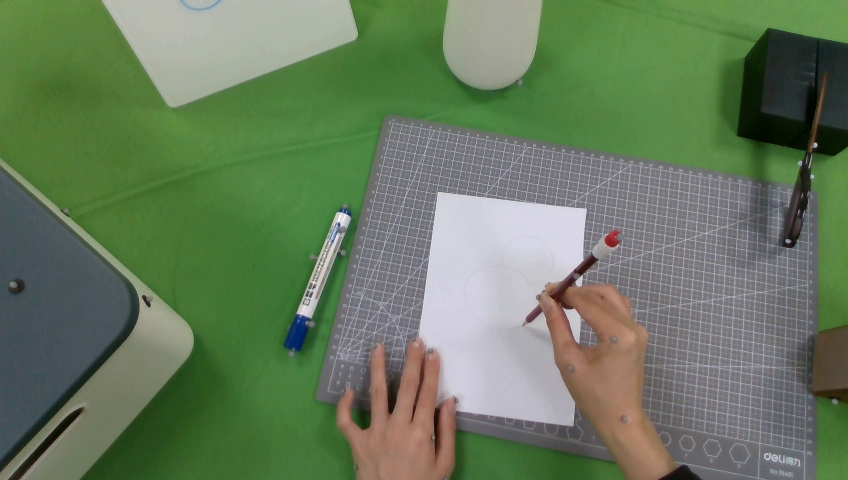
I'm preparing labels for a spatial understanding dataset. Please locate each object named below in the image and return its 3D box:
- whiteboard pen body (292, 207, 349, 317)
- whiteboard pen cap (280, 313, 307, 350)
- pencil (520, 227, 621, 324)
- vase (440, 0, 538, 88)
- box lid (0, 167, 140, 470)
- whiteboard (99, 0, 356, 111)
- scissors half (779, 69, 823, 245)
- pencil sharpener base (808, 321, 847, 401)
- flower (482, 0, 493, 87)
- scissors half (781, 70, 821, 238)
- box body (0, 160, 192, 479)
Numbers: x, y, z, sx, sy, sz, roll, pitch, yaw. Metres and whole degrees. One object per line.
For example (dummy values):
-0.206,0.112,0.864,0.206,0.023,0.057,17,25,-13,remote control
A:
-0.103,0.031,0.581,0.017,0.017,0.140,17,71,6,whiteboard pen body
-0.119,0.084,0.562,0.018,0.018,0.033,17,69,6,whiteboard pen cap
0.109,0.036,0.486,0.012,0.195,0.012,5,63,-9,pencil
0.063,-0.231,0.569,0.098,0.201,0.097,0,71,1,vase
-0.414,0.031,0.427,0.370,0.015,0.263,37,76,10,box lid
-0.219,-0.317,0.571,0.217,0.308,0.142,-23,54,-6,whiteboard
0.367,-0.080,0.587,0.012,0.040,0.175,12,92,29,scissors half
0.395,0.105,0.513,0.077,0.107,0.061,14,72,1,pencil sharpener base
0.058,-0.270,0.494,0.044,0.365,0.038,4,55,5,flower
0.358,-0.085,0.568,0.013,0.040,0.174,13,74,24,scissors half
-0.412,0.056,0.497,0.362,0.161,0.253,37,76,10,box body
